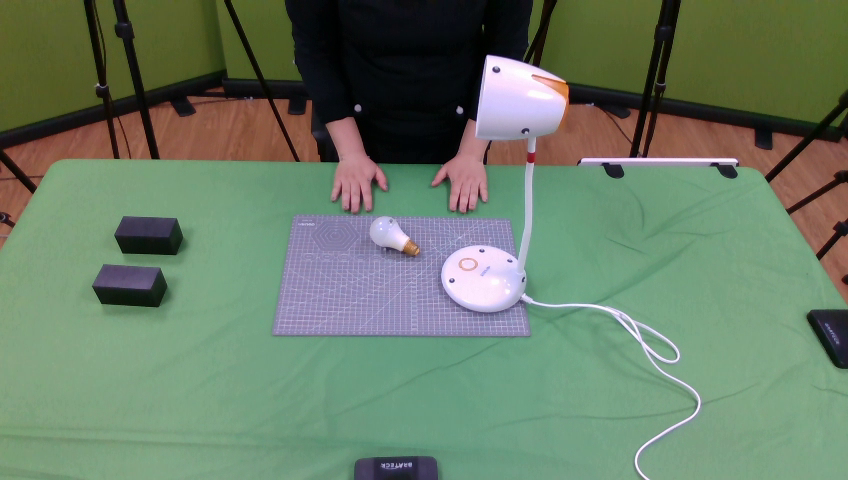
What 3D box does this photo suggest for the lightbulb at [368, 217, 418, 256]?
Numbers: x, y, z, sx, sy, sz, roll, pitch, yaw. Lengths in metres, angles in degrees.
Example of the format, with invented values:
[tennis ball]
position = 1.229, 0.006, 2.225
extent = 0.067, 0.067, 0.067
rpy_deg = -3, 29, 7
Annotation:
[lightbulb]
position = -0.058, -0.002, 1.174
extent = 0.107, 0.060, 0.059
rpy_deg = 33, 50, 5

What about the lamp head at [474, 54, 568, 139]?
[lamp head]
position = 0.130, -0.184, 0.818
extent = 0.123, 0.113, 0.112
rpy_deg = 10, 45, -3

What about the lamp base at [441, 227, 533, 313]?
[lamp base]
position = 0.126, 0.021, 1.072
extent = 0.179, 0.181, 0.160
rpy_deg = 23, 49, 14
